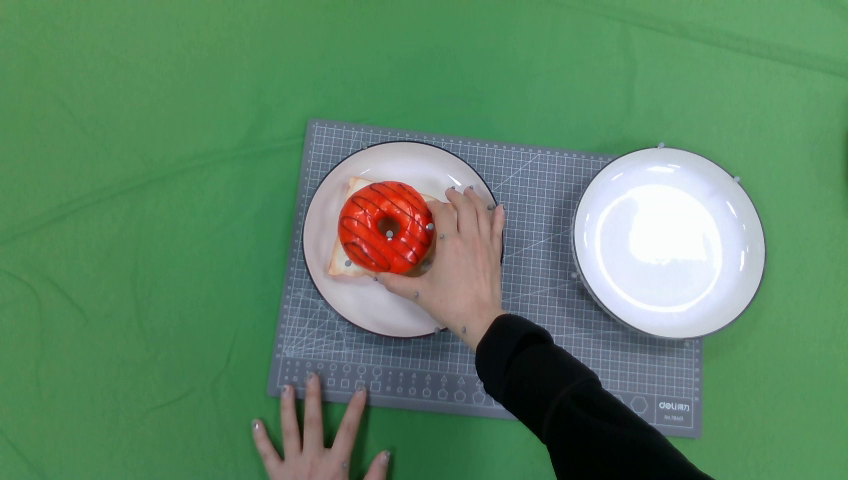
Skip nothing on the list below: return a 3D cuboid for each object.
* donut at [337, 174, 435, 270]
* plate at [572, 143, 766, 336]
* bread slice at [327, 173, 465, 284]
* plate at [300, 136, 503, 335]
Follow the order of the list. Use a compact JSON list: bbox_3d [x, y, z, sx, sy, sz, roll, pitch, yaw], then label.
[{"bbox_3d":[-0.037,-0.018,0.607,0.099,0.048,0.098,1,81,-3],"label":"donut"},{"bbox_3d":[0.258,0.000,0.652,0.208,0.039,0.206,1,79,-4],"label":"plate"},{"bbox_3d":[-0.025,-0.009,0.635,0.134,0.018,0.106,9,78,-3],"label":"bread slice"},{"bbox_3d":[-0.022,-0.004,0.632,0.209,0.038,0.208,1,79,-5],"label":"plate"}]
